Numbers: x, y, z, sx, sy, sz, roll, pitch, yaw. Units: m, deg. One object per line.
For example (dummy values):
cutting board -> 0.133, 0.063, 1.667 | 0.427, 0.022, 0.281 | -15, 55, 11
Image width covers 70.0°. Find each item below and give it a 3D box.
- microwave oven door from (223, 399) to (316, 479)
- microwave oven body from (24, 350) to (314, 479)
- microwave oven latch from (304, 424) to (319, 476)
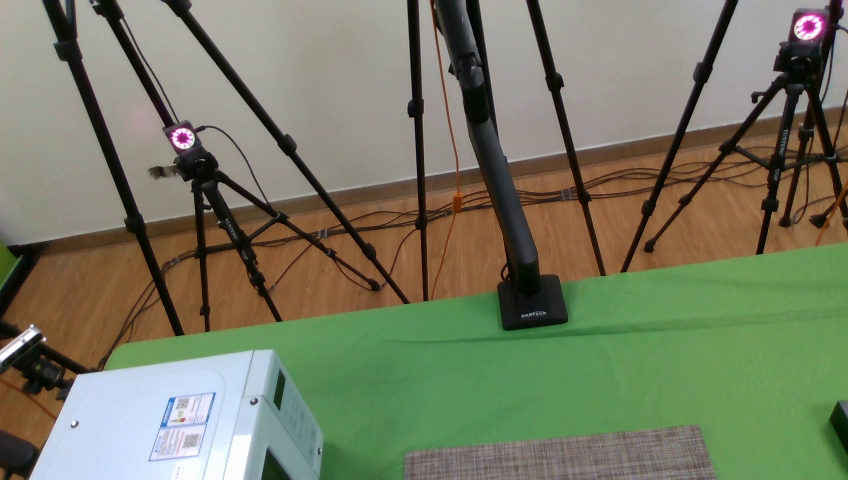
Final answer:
microwave oven door -> -0.200, 0.409, 0.736 | 0.039, 0.246, 0.352 | -10, 42, 6
microwave oven body -> -0.344, 0.409, 0.785 | 0.326, 0.263, 0.437 | -9, 43, 6
microwave oven latch -> -0.184, 0.334, 0.964 | 0.030, 0.030, 0.078 | -9, 43, 6
